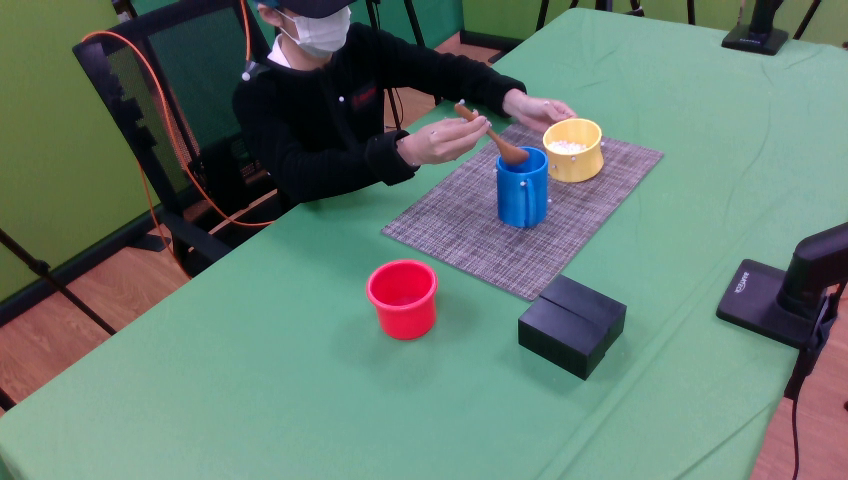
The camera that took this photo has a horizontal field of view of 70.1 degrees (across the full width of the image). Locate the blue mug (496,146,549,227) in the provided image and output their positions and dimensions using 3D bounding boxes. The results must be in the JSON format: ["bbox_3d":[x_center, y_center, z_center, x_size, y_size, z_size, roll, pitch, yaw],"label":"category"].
[{"bbox_3d":[0.162,-0.076,0.969,0.082,0.106,0.116,-9,40,-1],"label":"blue mug"}]

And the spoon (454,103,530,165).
[{"bbox_3d":[0.100,-0.154,0.895,0.041,0.195,0.021,-22,56,32],"label":"spoon"}]

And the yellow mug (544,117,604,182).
[{"bbox_3d":[0.265,-0.171,1.082,0.100,0.064,0.130,-11,44,9],"label":"yellow mug"}]
